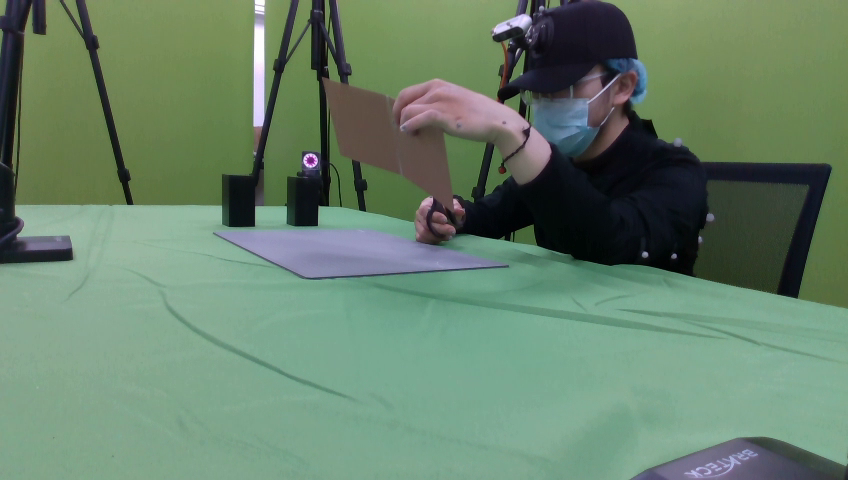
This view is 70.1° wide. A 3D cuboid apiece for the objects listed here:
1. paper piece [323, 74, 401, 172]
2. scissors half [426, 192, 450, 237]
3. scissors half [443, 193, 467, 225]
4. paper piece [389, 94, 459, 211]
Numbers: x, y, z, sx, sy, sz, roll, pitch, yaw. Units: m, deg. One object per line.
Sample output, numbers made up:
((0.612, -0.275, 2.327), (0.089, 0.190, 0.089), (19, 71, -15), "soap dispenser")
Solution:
((-0.094, -0.176, 0.916), (0.135, 0.135, 0.004), (21, 46, 32), "paper piece")
((0.013, -0.085, 1.003), (0.040, 0.175, 0.012), (-21, 24, -25), "scissors half")
((0.030, -0.095, 1.011), (0.040, 0.176, 0.013), (-46, 33, -18), "scissors half")
((0.000, -0.122, 0.836), (0.009, 0.136, 0.137), (-32, 44, -21), "paper piece")
